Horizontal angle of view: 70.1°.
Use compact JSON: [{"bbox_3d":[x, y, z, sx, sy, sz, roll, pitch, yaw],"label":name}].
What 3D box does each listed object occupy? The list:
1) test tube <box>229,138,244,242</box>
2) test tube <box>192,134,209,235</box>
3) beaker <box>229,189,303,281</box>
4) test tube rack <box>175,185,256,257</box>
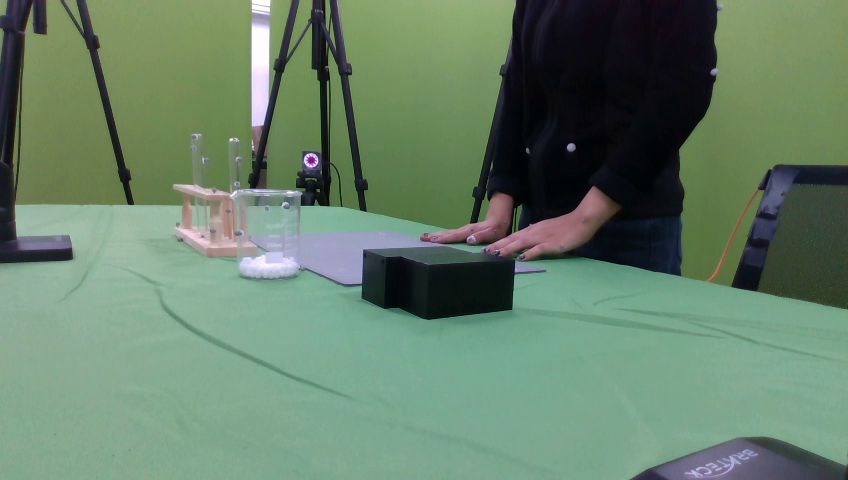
[{"bbox_3d":[-0.269,-0.071,0.867,0.017,0.150,0.017,0,9,0],"label":"test tube"},{"bbox_3d":[-0.332,-0.082,0.898,0.017,0.150,0.017,-2,6,0],"label":"test tube"},{"bbox_3d":[-0.181,-0.007,0.695,0.084,0.100,0.073,-4,9,-36],"label":"beaker"},{"bbox_3d":[-0.324,-0.035,0.922,0.067,0.085,0.241,-2,9,-31],"label":"test tube rack"}]
